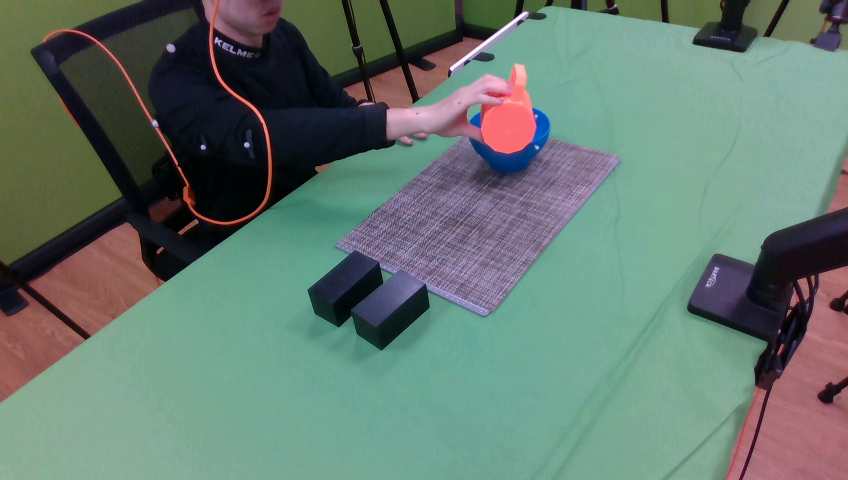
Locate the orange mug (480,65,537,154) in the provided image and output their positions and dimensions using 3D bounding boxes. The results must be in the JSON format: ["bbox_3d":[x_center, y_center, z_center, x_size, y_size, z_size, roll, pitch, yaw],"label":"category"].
[{"bbox_3d":[0.140,-0.216,0.983,0.083,0.126,0.100,11,28,-3],"label":"orange mug"}]

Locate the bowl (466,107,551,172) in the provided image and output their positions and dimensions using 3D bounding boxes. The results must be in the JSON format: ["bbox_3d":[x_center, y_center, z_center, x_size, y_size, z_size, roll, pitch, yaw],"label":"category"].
[{"bbox_3d":[0.155,-0.178,1.105,0.151,0.077,0.150,-3,40,3],"label":"bowl"}]
